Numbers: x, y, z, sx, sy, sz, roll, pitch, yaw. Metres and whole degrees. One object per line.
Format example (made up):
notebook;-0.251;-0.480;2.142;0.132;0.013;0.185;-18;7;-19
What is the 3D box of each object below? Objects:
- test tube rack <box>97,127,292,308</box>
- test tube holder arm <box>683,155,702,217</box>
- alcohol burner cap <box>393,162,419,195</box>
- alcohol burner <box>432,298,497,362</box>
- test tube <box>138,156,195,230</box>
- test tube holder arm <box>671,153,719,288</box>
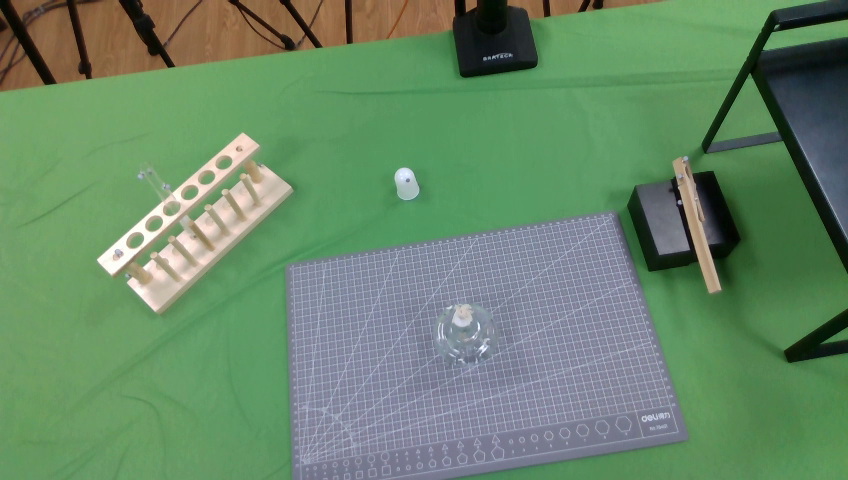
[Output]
test tube rack;-0.295;-0.031;0.803;0.066;0.086;0.242;38;73;20
test tube holder arm;0.327;-0.066;0.750;0.010;0.015;0.087;11;61;-25
alcohol burner cap;-0.026;-0.088;0.831;0.034;0.048;0.033;-4;60;7
alcohol burner;0.045;0.097;0.697;0.078;0.120;0.077;-3;63;6
test tube;-0.318;-0.055;0.762;0.017;0.151;0.017;-1;60;3
test tube holder arm;0.324;-0.027;0.728;0.013;0.015;0.177;11;62;-26
